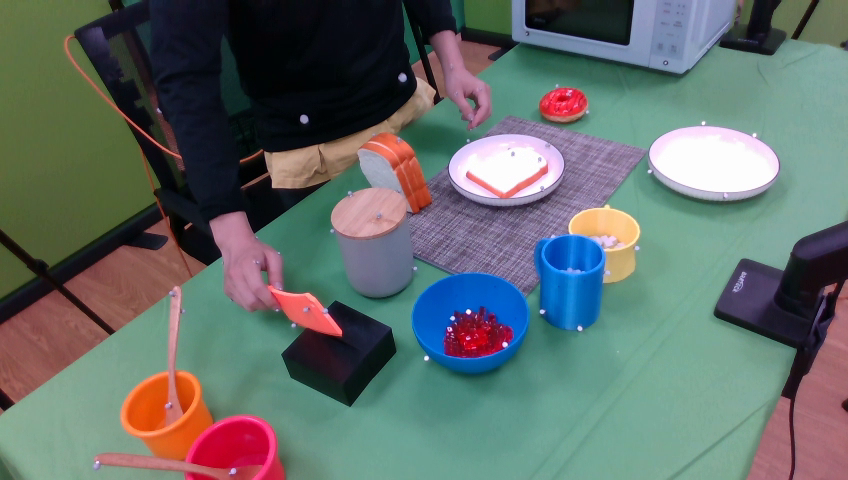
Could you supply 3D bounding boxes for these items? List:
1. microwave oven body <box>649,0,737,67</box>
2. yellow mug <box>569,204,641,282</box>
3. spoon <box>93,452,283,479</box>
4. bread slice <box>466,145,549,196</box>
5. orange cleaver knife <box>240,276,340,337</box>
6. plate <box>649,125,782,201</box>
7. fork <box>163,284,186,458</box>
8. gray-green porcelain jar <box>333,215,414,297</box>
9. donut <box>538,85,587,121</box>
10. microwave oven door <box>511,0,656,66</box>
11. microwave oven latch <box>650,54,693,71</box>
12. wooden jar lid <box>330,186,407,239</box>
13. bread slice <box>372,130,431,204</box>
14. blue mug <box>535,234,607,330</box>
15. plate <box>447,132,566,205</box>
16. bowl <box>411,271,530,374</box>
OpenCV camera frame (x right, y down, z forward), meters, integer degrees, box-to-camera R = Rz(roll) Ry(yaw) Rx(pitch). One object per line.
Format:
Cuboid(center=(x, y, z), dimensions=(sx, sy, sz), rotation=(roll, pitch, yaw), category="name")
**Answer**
Cuboid(center=(0.475, -0.602, 1.411), dimensions=(0.438, 0.261, 0.327), rotation=(23, 50, 32), category="microwave oven body")
Cuboid(center=(0.268, -0.005, 0.904), dimensions=(0.099, 0.064, 0.130), rotation=(7, 41, 15), category="yellow mug")
Cuboid(center=(-0.240, 0.239, 0.632), dimensions=(0.195, 0.021, 0.041), rotation=(26, 34, -32), category="spoon")
Cuboid(center=(0.156, -0.128, 1.085), dimensions=(0.132, 0.019, 0.104), rotation=(-34, 48, -23), category="bread slice")
Cuboid(center=(-0.180, 0.086, 0.798), dimensions=(0.209, 0.077, 0.012), rotation=(9, 44, 47), category="orange cleaver knife")
Cuboid(center=(0.493, -0.127, 1.036), dimensions=(0.207, 0.039, 0.206), rotation=(-4, 41, 4), category="plate")
Cuboid(center=(-0.302, 0.157, 0.733), dimensions=(0.028, 0.019, 0.207), rotation=(-4, 84, 16), category="fork")
Cuboid(center=(-0.071, 0.012, 0.887), dimensions=(0.106, 0.127, 0.105), rotation=(-4, 41, 4), category="gray-green porcelain jar")
Cuboid(center=(0.283, -0.280, 1.239), dimensions=(0.099, 0.048, 0.098), rotation=(-5, 42, 5), category="donut")
Cuboid(center=(0.351, -0.540, 1.349), dimensions=(0.353, 0.245, 0.039), rotation=(24, 50, 31), category="microwave oven door")
Cuboid(center=(0.531, -0.386, 1.301), dimensions=(0.078, 0.029, 0.030), rotation=(26, 51, 33), category="microwave oven latch")
Cuboid(center=(-0.077, -0.035, 0.846), dimensions=(0.108, 0.021, 0.108), rotation=(-5, 41, 5), category="wooden jar lid")
Cuboid(center=(-0.042, -0.127, 1.038), dimensions=(0.106, 0.135, 0.018), rotation=(30, 62, 34), category="bread slice")
Cuboid(center=(0.191, 0.048, 0.824), dimensions=(0.082, 0.106, 0.115), rotation=(-26, 44, -20), category="blue mug")
Cuboid(center=(0.146, -0.124, 1.076), dimensions=(0.209, 0.038, 0.208), rotation=(-4, 41, 4), category="plate")
Cuboid(center=(0.061, 0.120, 0.780), dimensions=(0.151, 0.077, 0.150), rotation=(-4, 40, 4), category="bowl")
